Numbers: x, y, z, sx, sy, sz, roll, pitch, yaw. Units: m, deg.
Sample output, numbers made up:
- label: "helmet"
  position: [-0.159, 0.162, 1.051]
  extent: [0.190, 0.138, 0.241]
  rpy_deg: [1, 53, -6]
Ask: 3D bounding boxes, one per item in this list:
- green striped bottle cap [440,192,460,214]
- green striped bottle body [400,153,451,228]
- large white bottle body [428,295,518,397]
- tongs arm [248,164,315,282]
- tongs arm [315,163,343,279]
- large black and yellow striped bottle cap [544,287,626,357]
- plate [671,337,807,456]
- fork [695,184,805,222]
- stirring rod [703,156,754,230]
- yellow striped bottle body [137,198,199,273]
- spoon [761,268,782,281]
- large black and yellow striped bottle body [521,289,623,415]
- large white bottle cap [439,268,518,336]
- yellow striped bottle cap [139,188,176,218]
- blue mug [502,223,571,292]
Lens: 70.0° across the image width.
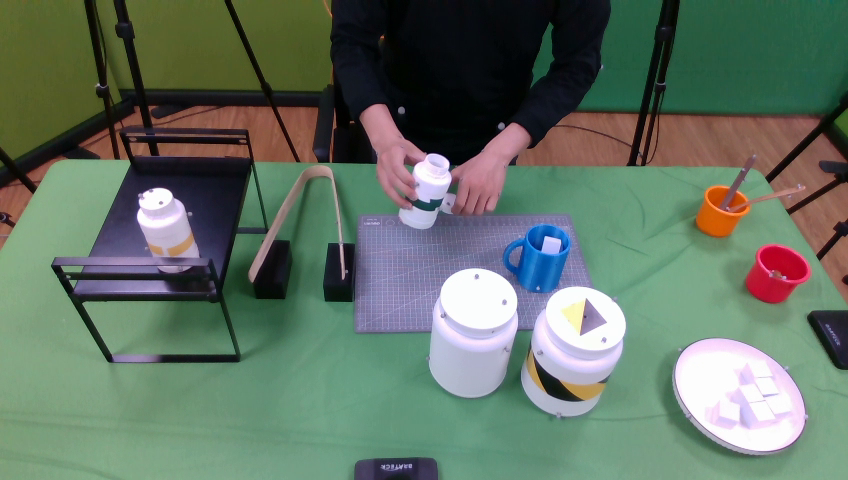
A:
- label: "green striped bottle cap"
  position: [0.044, -0.069, 1.120]
  extent: [0.044, 0.020, 0.044]
  rpy_deg: [15, 37, -12]
- label: "green striped bottle body"
  position: [0.004, -0.082, 0.975]
  extent: [0.063, 0.119, 0.063]
  rpy_deg: [12, 41, -10]
- label: "large white bottle body"
  position: [0.075, 0.147, 0.950]
  extent: [0.131, 0.185, 0.130]
  rpy_deg: [2, 47, -2]
- label: "tongs arm"
  position: [-0.269, -0.048, 1.165]
  extent: [0.028, 0.028, 0.385]
  rpy_deg: [-1, 34, 7]
- label: "tongs arm"
  position: [-0.188, -0.049, 1.170]
  extent: [0.051, 0.026, 0.382]
  rpy_deg: [-5, 35, -6]
- label: "large black and yellow striped bottle cap"
  position: [0.232, 0.116, 0.876]
  extent: [0.115, 0.019, 0.114]
  rpy_deg: [1, 46, -1]
- label: "plate"
  position: [0.503, 0.254, 0.984]
  extent: [0.208, 0.039, 0.206]
  rpy_deg: [2, 46, -2]
- label: "fork"
  position: [0.657, -0.075, 1.230]
  extent: [0.207, 0.019, 0.028]
  rpy_deg: [-23, 34, 37]
- label: "stirring rod"
  position: [0.631, -0.098, 1.258]
  extent: [0.014, 0.006, 0.176]
  rpy_deg: [33, 95, 29]
- label: "yellow striped bottle body"
  position: [-0.366, -0.014, 0.864]
  extent: [0.063, 0.121, 0.062]
  rpy_deg: [2, 46, -2]
- label: "spoon"
  position: [0.638, 0.060, 1.105]
  extent: [0.041, 0.021, 0.194]
  rpy_deg: [38, 11, 24]
- label: "large black and yellow striped bottle body"
  position: [0.228, 0.173, 0.937]
  extent: [0.131, 0.185, 0.130]
  rpy_deg: [2, 47, -2]
- label: "large white bottle cap"
  position: [0.080, 0.089, 0.888]
  extent: [0.115, 0.018, 0.114]
  rpy_deg: [2, 47, -2]
- label: "yellow striped bottle cap"
  position: [-0.363, -0.051, 0.826]
  extent: [0.044, 0.019, 0.044]
  rpy_deg: [0, 47, 0]
- label: "blue mug"
  position: [0.203, 0.031, 1.121]
  extent: [0.116, 0.106, 0.082]
  rpy_deg: [5, 46, 1]
